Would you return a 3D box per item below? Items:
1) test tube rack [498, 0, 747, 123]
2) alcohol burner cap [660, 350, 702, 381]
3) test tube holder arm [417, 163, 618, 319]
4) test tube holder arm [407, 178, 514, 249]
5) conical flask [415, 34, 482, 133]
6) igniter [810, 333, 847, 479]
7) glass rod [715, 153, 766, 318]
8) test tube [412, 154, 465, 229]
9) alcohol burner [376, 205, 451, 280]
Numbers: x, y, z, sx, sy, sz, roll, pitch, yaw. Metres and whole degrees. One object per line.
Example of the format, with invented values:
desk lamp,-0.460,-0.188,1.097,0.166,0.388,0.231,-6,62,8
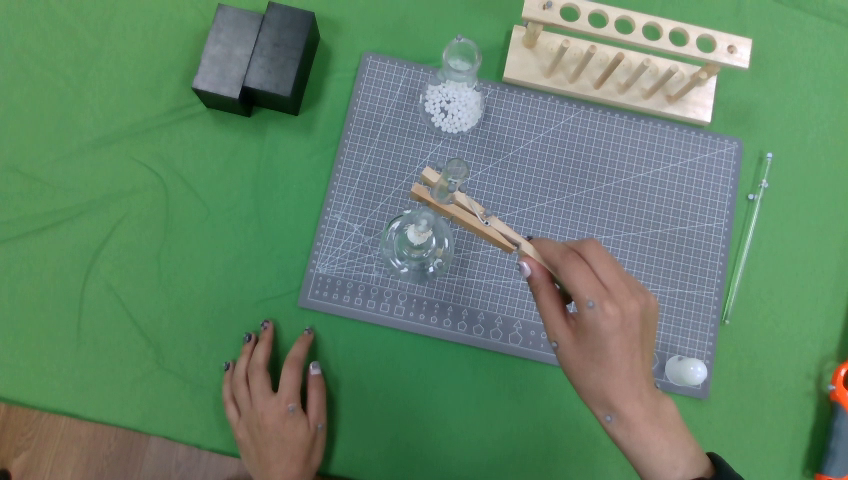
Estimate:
test tube rack,0.212,-0.201,0.668,0.242,0.085,0.066,12,80,-1
alcohol burner cap,0.272,0.131,0.635,0.034,0.048,0.033,1,79,-3
test tube holder arm,0.068,0.001,0.445,0.178,0.015,0.013,36,79,0
test tube holder arm,0.028,-0.019,0.443,0.088,0.015,0.010,29,78,-1
conical flask,0.029,-0.166,0.630,0.075,0.122,0.075,1,80,-3
igniter,0.469,0.129,0.657,0.057,0.025,0.275,23,80,-9
glass rod,0.357,-0.006,0.683,0.008,0.008,0.199,20,82,0
test tube,0.008,-0.032,0.457,0.017,0.150,0.017,2,77,-9
alcohol burner,-0.010,-0.001,0.605,0.078,0.119,0.077,0,78,-1
